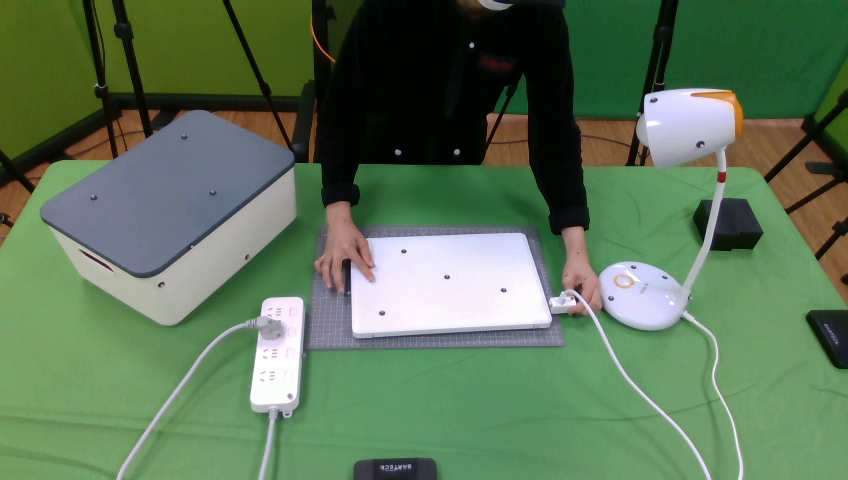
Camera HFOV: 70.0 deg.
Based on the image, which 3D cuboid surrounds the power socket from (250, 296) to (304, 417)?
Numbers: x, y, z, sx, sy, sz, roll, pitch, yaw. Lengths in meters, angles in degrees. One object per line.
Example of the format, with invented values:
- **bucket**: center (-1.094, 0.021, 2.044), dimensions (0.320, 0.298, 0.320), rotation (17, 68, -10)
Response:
- **power socket**: center (-0.239, 0.182, 0.996), dimensions (0.072, 0.033, 0.225), rotation (-2, 47, -5)

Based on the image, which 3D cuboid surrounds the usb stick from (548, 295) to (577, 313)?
- **usb stick**: center (0.242, 0.116, 1.088), dimensions (0.059, 0.027, 0.021), rotation (-7, 55, -5)

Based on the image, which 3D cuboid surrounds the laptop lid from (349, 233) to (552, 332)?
- **laptop lid**: center (0.040, 0.070, 1.120), dimensions (0.357, 0.013, 0.240), rotation (-1, 43, -5)

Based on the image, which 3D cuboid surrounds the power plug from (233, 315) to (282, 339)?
- **power plug**: center (-0.271, 0.144, 1.000), dimensions (0.072, 0.053, 0.035), rotation (5, 46, 3)

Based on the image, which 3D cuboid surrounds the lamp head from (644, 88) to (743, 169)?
- **lamp head**: center (0.380, -0.161, 0.852), dimensions (0.122, 0.113, 0.112), rotation (-4, 42, 25)

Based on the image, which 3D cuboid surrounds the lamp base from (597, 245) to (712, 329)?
- **lamp base**: center (0.418, 0.051, 1.072), dimensions (0.179, 0.181, 0.160), rotation (22, 49, 13)

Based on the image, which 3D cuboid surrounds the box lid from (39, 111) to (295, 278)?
- **box lid**: center (-0.434, -0.097, 1.055), dimensions (0.262, 0.015, 0.370), rotation (25, 49, 18)

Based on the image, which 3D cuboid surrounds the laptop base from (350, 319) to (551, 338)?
- **laptop base**: center (0.040, 0.080, 1.127), dimensions (0.355, 0.023, 0.234), rotation (-2, 43, -6)

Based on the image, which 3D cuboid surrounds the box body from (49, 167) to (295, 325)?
- **box body**: center (-0.437, -0.046, 1.110), dimensions (0.253, 0.161, 0.363), rotation (24, 49, 18)
